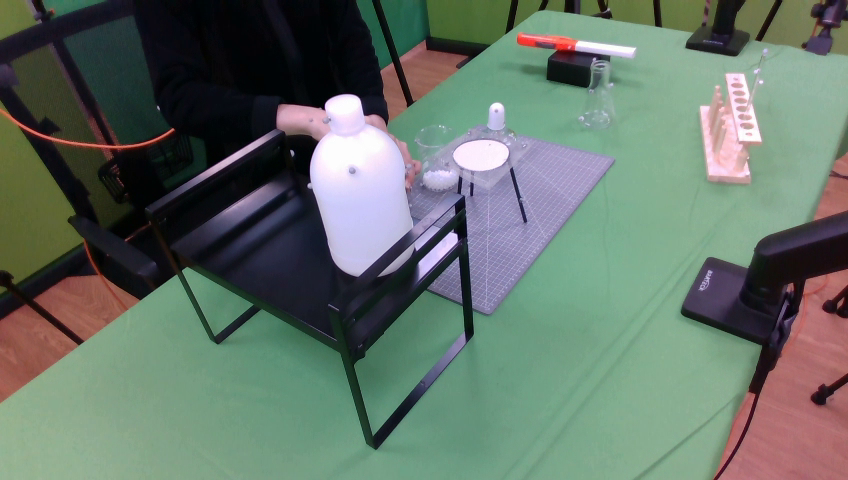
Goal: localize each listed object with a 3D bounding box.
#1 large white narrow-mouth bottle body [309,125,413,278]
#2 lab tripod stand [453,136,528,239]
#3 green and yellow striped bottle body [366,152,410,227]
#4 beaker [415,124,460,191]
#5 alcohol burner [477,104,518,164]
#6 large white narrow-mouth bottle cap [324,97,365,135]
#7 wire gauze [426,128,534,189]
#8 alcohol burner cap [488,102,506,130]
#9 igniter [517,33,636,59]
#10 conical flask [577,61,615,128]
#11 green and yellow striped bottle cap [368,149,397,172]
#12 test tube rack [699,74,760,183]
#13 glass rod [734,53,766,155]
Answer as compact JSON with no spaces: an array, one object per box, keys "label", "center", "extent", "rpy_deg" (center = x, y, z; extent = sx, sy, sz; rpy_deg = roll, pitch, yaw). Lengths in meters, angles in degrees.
[{"label":"large white narrow-mouth bottle body","center":[-0.068,-0.057,0.644],"extent":[0.102,0.195,0.101],"rpy_deg":[-3,42,4]},{"label":"lab tripod stand","center":[0.094,-0.086,0.974],"extent":[0.148,0.132,0.147],"rpy_deg":[-4,43,4]},{"label":"green and yellow striped bottle body","center":[-0.060,-0.085,1.005],"extent":[0.063,0.120,0.063],"rpy_deg":[-4,40,4]},{"label":"beaker","center":[0.027,-0.147,1.081],"extent":[0.073,0.100,0.084],"rpy_deg":[12,43,21]},{"label":"alcohol burner","center":[0.135,-0.200,1.117],"extent":[0.078,0.119,0.077],"rpy_deg":[-4,43,4]},{"label":"large white narrow-mouth bottle cap","center":[-0.076,-0.120,0.585],"extent":[0.038,0.024,0.037],"rpy_deg":[-3,42,3]},{"label":"wire gauze","center":[0.086,-0.131,0.924],"extent":[0.124,0.011,0.122],"rpy_deg":[26,52,33]},{"label":"alcohol burner cap","center":[0.133,-0.227,1.092],"extent":[0.034,0.048,0.033],"rpy_deg":[-1,47,2]},{"label":"igniter","center":[0.336,-0.441,1.369],"extent":[0.275,0.025,0.057],"rpy_deg":[16,41,23]},{"label":"conical flask","center":[0.343,-0.288,1.188],"extent":[0.075,0.122,0.075],"rpy_deg":[-4,41,4]},{"label":"green and yellow striped bottle cap","center":[-0.067,-0.128,0.968],"extent":[0.045,0.020,0.045],"rpy_deg":[-8,34,6]},{"label":"test tube rack","center":[0.547,-0.208,1.095],"extent":[0.066,0.085,0.242],"rpy_deg":[6,42,15]},{"label":"glass rod","center":[0.540,-0.220,1.007],"extent":[0.008,0.201,0.008],"rpy_deg":[-5,46,6]}]
